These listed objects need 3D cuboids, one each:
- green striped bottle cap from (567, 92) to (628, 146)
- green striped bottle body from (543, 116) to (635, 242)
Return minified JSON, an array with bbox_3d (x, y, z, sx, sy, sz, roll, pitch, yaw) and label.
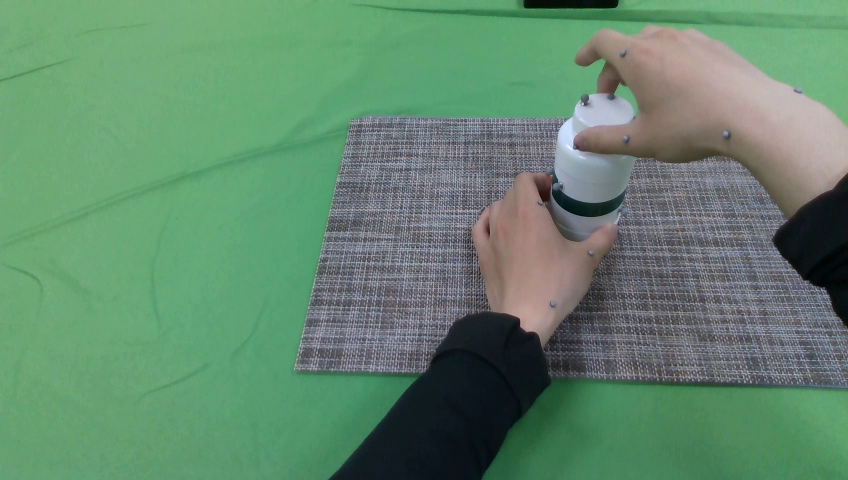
[{"bbox_3d":[0.131,-0.092,0.460,0.044,0.020,0.044,-2,53,3],"label":"green striped bottle cap"},{"bbox_3d":[0.135,-0.059,0.500,0.063,0.120,0.062,-2,50,2],"label":"green striped bottle body"}]
